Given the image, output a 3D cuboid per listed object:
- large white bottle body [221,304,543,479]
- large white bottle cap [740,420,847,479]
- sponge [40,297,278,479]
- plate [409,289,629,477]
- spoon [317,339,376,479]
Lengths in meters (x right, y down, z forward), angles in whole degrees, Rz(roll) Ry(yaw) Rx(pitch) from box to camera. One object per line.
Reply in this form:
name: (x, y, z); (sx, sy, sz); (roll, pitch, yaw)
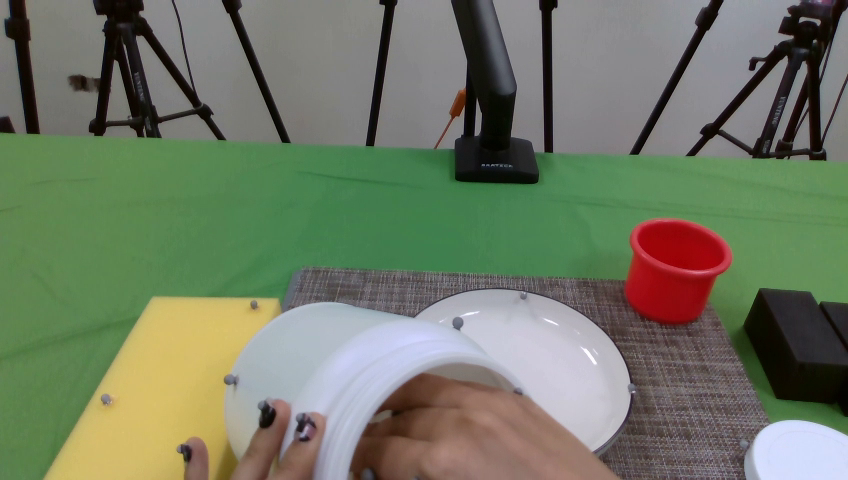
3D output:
large white bottle body: (-0.033, 0.106, 0.343); (0.131, 0.131, 0.183); (-20, 8, -28)
large white bottle cap: (0.309, 0.191, 0.470); (0.115, 0.018, 0.113); (3, 36, -2)
sponge: (-0.196, 0.135, 0.489); (0.118, 0.061, 0.205); (0, 35, 1)
plate: (0.071, 0.123, 0.535); (0.209, 0.038, 0.207); (2, 35, -1)
spoon: (-0.037, 0.094, 0.326); (0.041, 0.022, 0.192); (-20, 19, -5)
